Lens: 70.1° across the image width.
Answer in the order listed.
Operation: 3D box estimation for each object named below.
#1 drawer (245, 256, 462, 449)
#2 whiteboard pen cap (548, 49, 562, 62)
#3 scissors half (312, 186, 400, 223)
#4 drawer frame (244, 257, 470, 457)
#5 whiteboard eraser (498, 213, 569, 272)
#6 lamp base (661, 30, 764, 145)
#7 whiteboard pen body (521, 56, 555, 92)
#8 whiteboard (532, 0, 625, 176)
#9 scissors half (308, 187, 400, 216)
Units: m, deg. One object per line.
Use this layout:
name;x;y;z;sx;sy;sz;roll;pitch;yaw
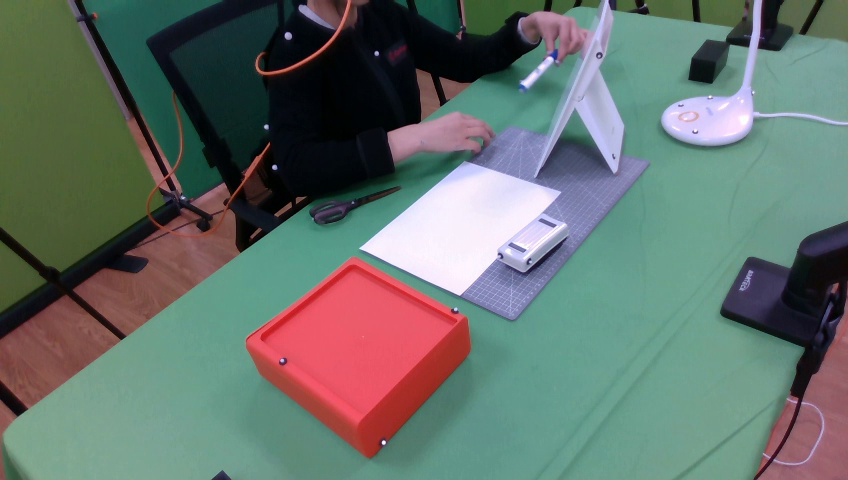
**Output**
drawer;-0.089;0.136;0.792;0.210;0.073;0.195;26;51;34
whiteboard pen cap;0.269;-0.379;1.244;0.018;0.018;0.033;20;51;30
scissors half;-0.118;-0.066;1.088;0.176;0.013;0.040;-25;38;-24
drawer frame;-0.084;0.138;0.788;0.212;0.083;0.202;25;50;33
whiteboard eraser;0.168;0.006;0.924;0.113;0.042;0.055;-36;48;-28
lamp base;0.535;-0.287;1.096;0.179;0.181;0.159;-10;40;-4
whiteboard pen body;0.235;-0.340;1.216;0.017;0.017;0.141;22;55;31
whiteboard;0.320;-0.259;1.050;0.144;0.306;0.217;21;45;5
scissors half;-0.126;-0.075;1.104;0.176;0.013;0.039;-15;29;-10
